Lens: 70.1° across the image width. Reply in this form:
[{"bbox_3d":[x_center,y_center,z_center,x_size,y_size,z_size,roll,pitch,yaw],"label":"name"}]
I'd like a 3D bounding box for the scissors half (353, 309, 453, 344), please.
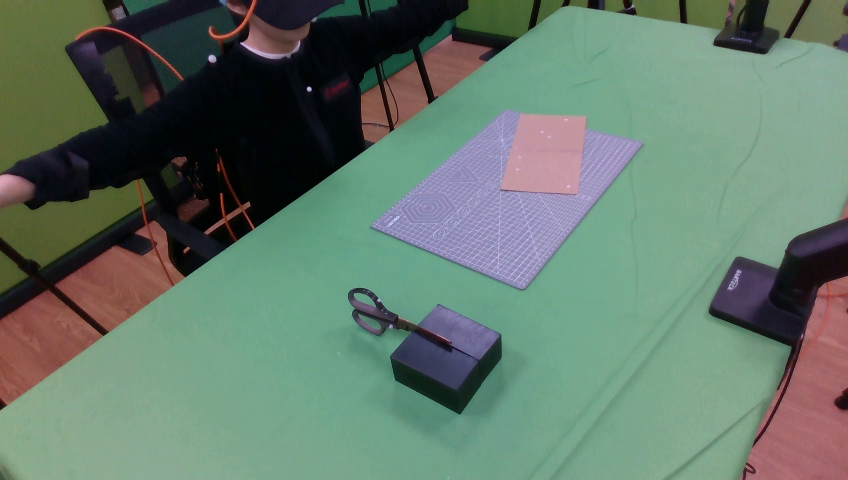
[{"bbox_3d":[-0.030,0.119,0.806,0.174,0.040,0.013,6,34,40],"label":"scissors half"}]

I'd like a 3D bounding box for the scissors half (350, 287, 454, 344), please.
[{"bbox_3d":[-0.032,0.101,0.796,0.174,0.040,0.013,23,39,29],"label":"scissors half"}]

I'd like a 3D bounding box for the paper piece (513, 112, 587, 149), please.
[{"bbox_3d":[0.252,-0.215,1.196,0.135,0.004,0.135,6,42,14],"label":"paper piece"}]

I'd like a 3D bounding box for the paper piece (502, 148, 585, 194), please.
[{"bbox_3d":[0.219,-0.128,1.101,0.135,0.009,0.138,2,42,17],"label":"paper piece"}]
